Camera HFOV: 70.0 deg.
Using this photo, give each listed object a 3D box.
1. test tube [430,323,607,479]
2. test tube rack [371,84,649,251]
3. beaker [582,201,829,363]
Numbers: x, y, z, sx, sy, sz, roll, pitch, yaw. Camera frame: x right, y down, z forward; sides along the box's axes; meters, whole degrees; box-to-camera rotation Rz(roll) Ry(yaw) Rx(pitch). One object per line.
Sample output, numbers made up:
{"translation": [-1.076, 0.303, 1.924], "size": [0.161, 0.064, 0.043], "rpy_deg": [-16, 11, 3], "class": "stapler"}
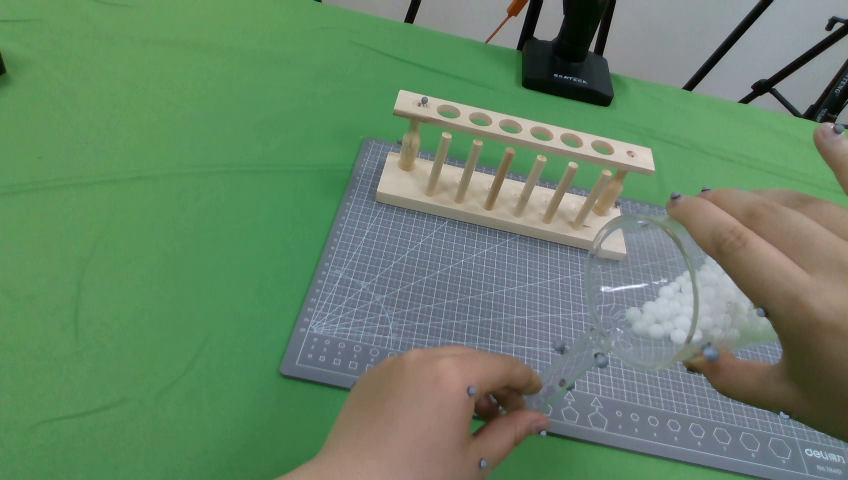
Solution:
{"translation": [0.049, 0.099, 0.352], "size": [0.017, 0.150, 0.017], "rpy_deg": [29, 31, -19], "class": "test tube"}
{"translation": [0.079, -0.067, 0.572], "size": [0.242, 0.086, 0.066], "rpy_deg": [13, 45, -3], "class": "test tube rack"}
{"translation": [0.142, 0.020, 0.308], "size": [0.101, 0.084, 0.073], "rpy_deg": [-5, 50, -23], "class": "beaker"}
